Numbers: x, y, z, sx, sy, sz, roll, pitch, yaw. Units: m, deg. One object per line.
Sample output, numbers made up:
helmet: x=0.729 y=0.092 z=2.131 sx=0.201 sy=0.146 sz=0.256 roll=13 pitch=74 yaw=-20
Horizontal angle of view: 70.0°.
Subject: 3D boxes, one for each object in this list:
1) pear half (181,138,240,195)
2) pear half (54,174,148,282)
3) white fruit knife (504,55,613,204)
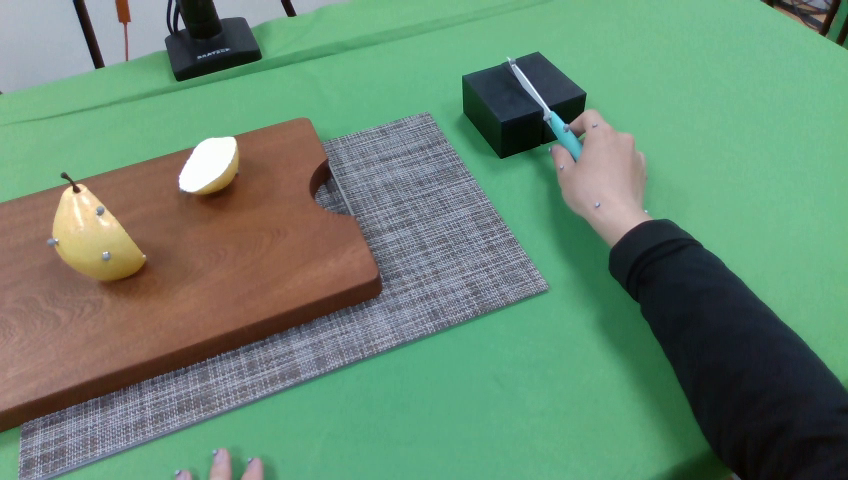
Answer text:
pear half: x=-0.214 y=-0.072 z=0.622 sx=0.070 sy=0.031 sz=0.087 roll=-30 pitch=36 yaw=-1
pear half: x=-0.290 y=-0.009 z=0.520 sx=0.075 sy=0.111 sz=0.056 roll=25 pitch=55 yaw=30
white fruit knife: x=0.137 y=-0.124 z=0.639 sx=0.016 sy=0.027 sz=0.205 roll=-27 pitch=67 yaw=-7
